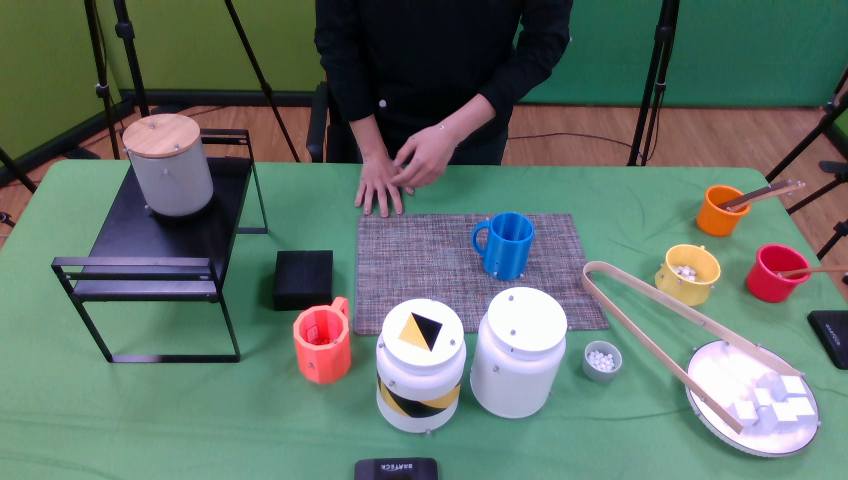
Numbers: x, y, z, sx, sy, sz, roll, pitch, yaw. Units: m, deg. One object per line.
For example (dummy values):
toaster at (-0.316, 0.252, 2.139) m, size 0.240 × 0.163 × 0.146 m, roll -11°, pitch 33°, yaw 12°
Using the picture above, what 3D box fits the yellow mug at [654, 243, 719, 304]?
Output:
yellow mug at (0.504, 0.054, 1.154) m, size 0.099 × 0.064 × 0.130 m, roll 28°, pitch 50°, yaw 22°

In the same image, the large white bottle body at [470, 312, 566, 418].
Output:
large white bottle body at (0.143, 0.173, 0.930) m, size 0.131 × 0.185 × 0.130 m, roll 2°, pitch 46°, yaw -2°

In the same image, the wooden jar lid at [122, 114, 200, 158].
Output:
wooden jar lid at (-0.390, -0.152, 0.904) m, size 0.108 × 0.021 × 0.107 m, roll 3°, pitch 45°, yaw -3°

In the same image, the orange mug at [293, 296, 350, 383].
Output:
orange mug at (-0.157, 0.154, 0.985) m, size 0.083 × 0.101 × 0.125 m, roll 17°, pitch 52°, yaw 11°

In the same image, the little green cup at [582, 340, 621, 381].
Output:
little green cup at (0.295, 0.203, 1.015) m, size 0.061 × 0.039 × 0.061 m, roll 2°, pitch 45°, yaw -2°

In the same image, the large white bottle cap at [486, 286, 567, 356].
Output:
large white bottle cap at (0.147, 0.114, 0.869) m, size 0.115 × 0.018 × 0.114 m, roll 3°, pitch 46°, yaw -3°

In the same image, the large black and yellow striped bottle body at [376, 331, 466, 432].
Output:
large black and yellow striped bottle body at (-0.007, 0.189, 0.905) m, size 0.131 × 0.185 × 0.130 m, roll 2°, pitch 46°, yaw -2°

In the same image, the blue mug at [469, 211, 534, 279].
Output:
blue mug at (0.141, 0.005, 1.140) m, size 0.116 × 0.106 × 0.082 m, roll 18°, pitch 48°, yaw 13°

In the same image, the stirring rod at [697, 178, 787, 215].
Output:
stirring rod at (0.650, -0.088, 1.245) m, size 0.006 × 0.176 × 0.014 m, roll 29°, pitch 49°, yaw -39°

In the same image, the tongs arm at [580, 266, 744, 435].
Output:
tongs arm at (0.384, 0.173, 1.028) m, size 0.028 × 0.028 × 0.385 m, roll -25°, pitch 46°, yaw -15°

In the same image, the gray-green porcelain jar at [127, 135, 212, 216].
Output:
gray-green porcelain jar at (-0.394, -0.109, 0.949) m, size 0.106 × 0.127 × 0.105 m, roll 3°, pitch 46°, yaw -3°

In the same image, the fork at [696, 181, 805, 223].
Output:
fork at (0.659, -0.077, 1.232) m, size 0.207 × 0.019 × 0.028 m, roll -26°, pitch 35°, yaw 34°

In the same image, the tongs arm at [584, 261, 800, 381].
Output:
tongs arm at (0.452, 0.137, 1.064) m, size 0.051 × 0.027 × 0.382 m, roll -34°, pitch 50°, yaw -27°

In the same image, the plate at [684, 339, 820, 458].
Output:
plate at (0.523, 0.256, 0.982) m, size 0.208 × 0.039 × 0.206 m, roll 2°, pitch 46°, yaw -2°

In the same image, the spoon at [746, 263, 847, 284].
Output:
spoon at (0.696, 0.057, 1.113) m, size 0.193 × 0.022 × 0.041 m, roll -16°, pitch 27°, yaw 48°

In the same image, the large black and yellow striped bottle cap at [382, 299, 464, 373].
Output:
large black and yellow striped bottle cap at (-0.002, 0.132, 0.843) m, size 0.115 × 0.019 × 0.114 m, roll 2°, pitch 46°, yaw -1°
